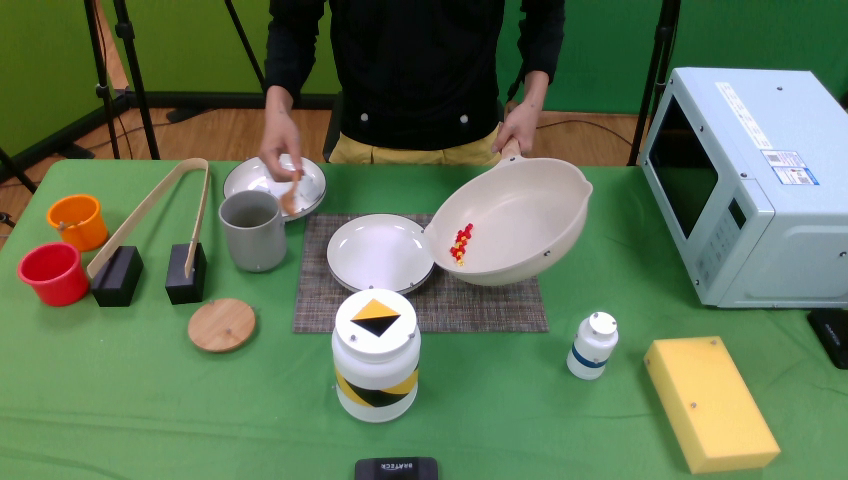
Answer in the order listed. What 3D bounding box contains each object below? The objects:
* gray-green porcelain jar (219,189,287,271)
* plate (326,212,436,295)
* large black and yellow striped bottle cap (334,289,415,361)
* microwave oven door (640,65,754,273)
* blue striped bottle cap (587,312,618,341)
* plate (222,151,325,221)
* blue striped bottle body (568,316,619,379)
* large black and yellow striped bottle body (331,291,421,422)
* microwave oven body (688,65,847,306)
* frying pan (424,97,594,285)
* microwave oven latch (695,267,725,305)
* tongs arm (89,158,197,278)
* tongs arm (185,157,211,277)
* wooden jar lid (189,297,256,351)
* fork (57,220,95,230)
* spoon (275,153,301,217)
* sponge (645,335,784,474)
[{"bbox_3d":[-0.310,-0.014,1.113,0.106,0.127,0.105,2,46,-2],"label":"gray-green porcelain jar"},{"bbox_3d":[-0.080,0.030,1.143,0.209,0.038,0.208,3,46,-3],"label":"plate"},{"bbox_3d":[-0.069,0.117,0.850,0.115,0.019,0.114,2,45,-2],"label":"large black and yellow striped bottle cap"},{"bbox_3d":[0.523,-0.147,1.193,0.039,0.245,0.353,0,47,-3],"label":"microwave oven door"},{"bbox_3d":[0.279,0.134,0.947,0.044,0.021,0.044,2,45,-2],"label":"blue striped bottle cap"},{"bbox_3d":[-0.310,-0.106,1.263,0.208,0.039,0.206,2,47,-2],"label":"plate"},{"bbox_3d":[0.277,0.168,0.984,0.063,0.121,0.062,2,46,-2],"label":"blue striped bottle body"},{"bbox_3d":[-0.072,0.175,0.911,0.131,0.185,0.130,2,47,-2],"label":"large black and yellow striped bottle body"},{"bbox_3d":[0.669,-0.111,1.176,0.326,0.261,0.439,0,46,-3],"label":"microwave oven body"},{"bbox_3d":[0.161,-0.110,1.107,0.306,0.103,0.485,-13,46,25],"label":"frying pan"},{"bbox_3d":[0.524,0.082,1.115,0.030,0.029,0.078,4,46,1],"label":"microwave oven latch"},{"bbox_3d":[-0.530,-0.057,1.163,0.028,0.028,0.385,1,36,7],"label":"tongs arm"},{"bbox_3d":[-0.446,-0.058,1.168,0.051,0.026,0.382,-5,37,-6],"label":"tongs arm"},{"bbox_3d":[-0.342,0.145,1.033,0.108,0.021,0.107,2,45,-2],"label":"wooden jar lid"},{"bbox_3d":[-0.624,-0.027,1.086,0.028,0.207,0.018,-2,91,-17],"label":"fork"},{"bbox_3d":[-0.228,-0.100,1.050,0.021,0.042,0.192,-32,32,23],"label":"spoon"},{"bbox_3d":[0.449,0.253,0.956,0.118,0.061,0.205,-4,46,-7],"label":"sponge"}]
